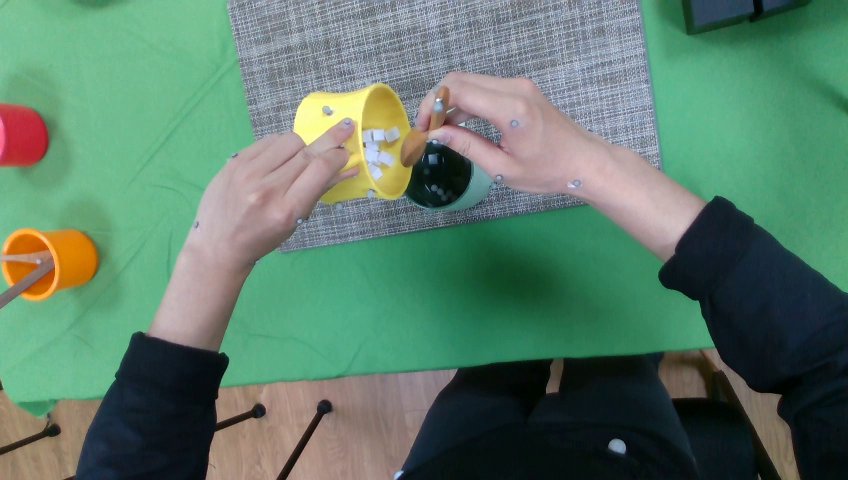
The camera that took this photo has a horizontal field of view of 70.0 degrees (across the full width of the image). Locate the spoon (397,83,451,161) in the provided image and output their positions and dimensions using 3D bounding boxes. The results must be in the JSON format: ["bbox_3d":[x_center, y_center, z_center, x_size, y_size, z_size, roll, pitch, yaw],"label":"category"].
[{"bbox_3d":[0.002,-0.089,0.460,0.022,0.193,0.041,35,84,-9],"label":"spoon"}]

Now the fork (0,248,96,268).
[{"bbox_3d":[-0.534,0.022,0.767,0.208,0.018,0.028,2,98,-29],"label":"fork"}]

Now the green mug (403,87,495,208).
[{"bbox_3d":[0.024,-0.093,0.623,0.092,0.105,0.125,8,100,14],"label":"green mug"}]

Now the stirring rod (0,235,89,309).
[{"bbox_3d":[-0.506,0.054,0.770,0.014,0.006,0.176,41,64,5],"label":"stirring rod"}]

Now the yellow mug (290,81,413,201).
[{"bbox_3d":[-0.065,-0.078,0.521,0.064,0.130,0.100,-1,115,25],"label":"yellow mug"}]
